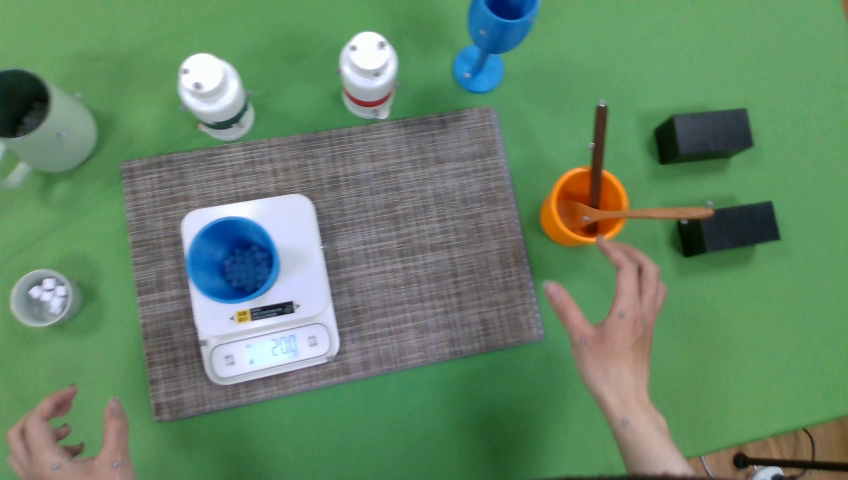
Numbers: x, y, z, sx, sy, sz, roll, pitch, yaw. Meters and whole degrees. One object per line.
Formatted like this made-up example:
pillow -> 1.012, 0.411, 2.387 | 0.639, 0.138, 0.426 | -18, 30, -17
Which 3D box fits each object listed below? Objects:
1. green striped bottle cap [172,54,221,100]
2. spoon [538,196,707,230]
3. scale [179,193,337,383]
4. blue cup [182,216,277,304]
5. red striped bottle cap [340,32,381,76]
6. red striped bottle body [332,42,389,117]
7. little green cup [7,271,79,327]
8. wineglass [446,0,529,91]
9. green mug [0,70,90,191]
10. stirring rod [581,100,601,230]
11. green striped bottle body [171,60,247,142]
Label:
green striped bottle cap -> -0.233, -0.167, 0.621 | 0.044, 0.020, 0.044 | 1, 81, -5
spoon -> 0.221, -0.033, 0.695 | 0.022, 0.192, 0.041 | 5, 86, -49
scale -> -0.189, 0.052, 0.691 | 0.149, 0.031, 0.200 | -12, 84, -8
blue cup -> -0.192, 0.025, 0.629 | 0.093, 0.100, 0.092 | 1, 83, -6
red striped bottle cap -> -0.068, -0.199, 0.647 | 0.044, 0.018, 0.044 | 1, 78, -5
red striped bottle body -> -0.073, -0.191, 0.700 | 0.063, 0.120, 0.063 | 1, 81, -7
little green cup -> -0.413, 0.066, 0.663 | 0.062, 0.038, 0.061 | 1, 81, -7
wineglass -> 0.068, -0.236, 0.695 | 0.074, 0.172, 0.073 | 1, 81, -6
green mug -> -0.434, -0.111, 0.654 | 0.092, 0.105, 0.125 | 24, 80, -2
stirring rod -> 0.192, -0.080, 0.699 | 0.014, 0.178, 0.005 | -3, 41, 7
green striped bottle body -> -0.239, -0.157, 0.675 | 0.063, 0.119, 0.063 | 1, 81, -6
